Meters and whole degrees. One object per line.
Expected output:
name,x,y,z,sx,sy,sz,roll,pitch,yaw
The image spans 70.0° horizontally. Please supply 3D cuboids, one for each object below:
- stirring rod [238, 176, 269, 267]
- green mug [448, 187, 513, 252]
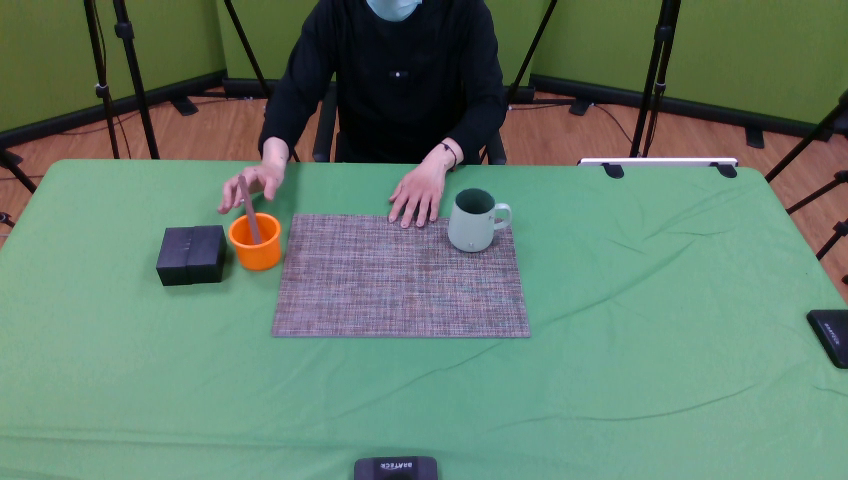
stirring rod,-0.318,-0.035,1.128,0.014,0.006,0.176,-15,90,-15
green mug,0.111,-0.041,1.179,0.125,0.105,0.092,-7,47,-10
